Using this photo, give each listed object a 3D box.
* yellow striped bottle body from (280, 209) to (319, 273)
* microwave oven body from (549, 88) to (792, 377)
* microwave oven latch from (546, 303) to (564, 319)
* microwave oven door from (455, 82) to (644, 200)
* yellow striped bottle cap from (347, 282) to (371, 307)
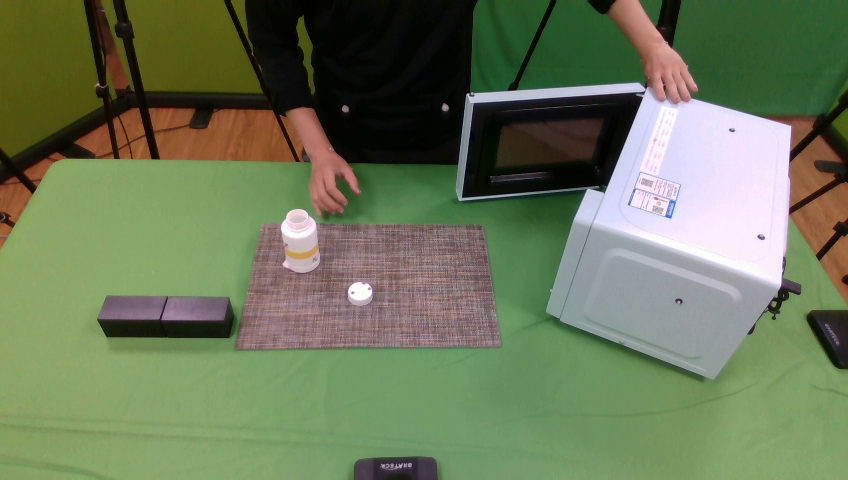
[{"bbox_3d":[-0.227,-0.001,1.106,0.063,0.121,0.062,2,46,-2],"label":"yellow striped bottle body"},{"bbox_3d":[0.456,-0.028,1.088,0.325,0.261,0.440,20,47,16],"label":"microwave oven body"},{"bbox_3d":[0.242,0.102,1.081,0.030,0.029,0.079,21,47,17],"label":"microwave oven latch"},{"bbox_3d":[0.247,-0.198,1.229,0.356,0.245,0.039,-6,47,-10],"label":"microwave oven door"},{"bbox_3d":[-0.117,0.098,1.093,0.044,0.019,0.044,3,46,-3],"label":"yellow striped bottle cap"}]
